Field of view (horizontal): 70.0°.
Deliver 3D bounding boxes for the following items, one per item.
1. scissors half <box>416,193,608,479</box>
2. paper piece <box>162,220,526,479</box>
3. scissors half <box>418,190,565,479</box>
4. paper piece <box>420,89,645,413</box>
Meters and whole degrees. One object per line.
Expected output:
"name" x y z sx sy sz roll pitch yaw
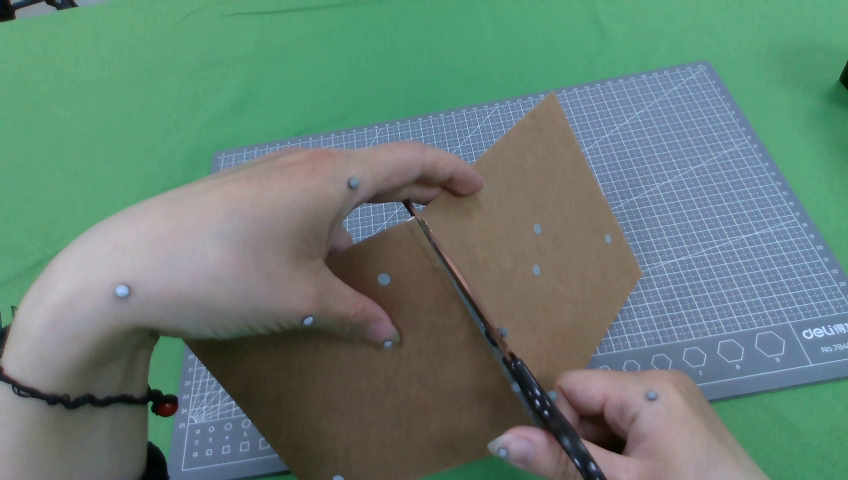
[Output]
"scissors half" 0.042 0.054 0.267 0.013 0.040 0.175 -30 85 -10
"paper piece" -0.032 0.075 0.307 0.138 0.137 0.008 -30 25 6
"scissors half" 0.039 0.054 0.287 0.013 0.176 0.040 -29 11 -5
"paper piece" 0.072 0.005 0.334 0.004 0.136 0.135 -10 28 50
